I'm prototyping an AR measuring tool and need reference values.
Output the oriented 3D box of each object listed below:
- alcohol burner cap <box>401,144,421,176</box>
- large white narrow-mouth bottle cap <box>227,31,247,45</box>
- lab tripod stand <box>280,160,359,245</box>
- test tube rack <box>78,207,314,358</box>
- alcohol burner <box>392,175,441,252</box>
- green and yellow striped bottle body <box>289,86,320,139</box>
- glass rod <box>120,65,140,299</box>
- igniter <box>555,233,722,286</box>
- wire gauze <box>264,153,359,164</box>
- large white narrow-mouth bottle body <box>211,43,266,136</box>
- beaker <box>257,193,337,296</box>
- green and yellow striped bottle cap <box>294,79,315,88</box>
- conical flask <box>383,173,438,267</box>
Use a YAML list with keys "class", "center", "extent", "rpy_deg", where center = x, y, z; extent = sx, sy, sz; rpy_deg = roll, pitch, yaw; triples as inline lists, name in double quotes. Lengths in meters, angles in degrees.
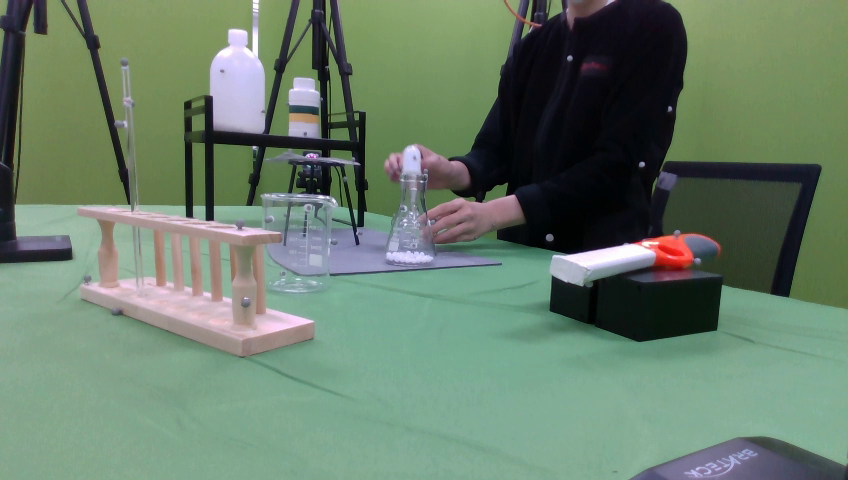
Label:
- class: "alcohol burner cap"
  center: [-0.020, -0.127, 0.949]
  extent: [0.034, 0.048, 0.034]
  rpy_deg: [1, -9, 0]
- class: "large white narrow-mouth bottle cap"
  center: [-0.361, -0.388, 1.165]
  extent: [0.038, 0.024, 0.037]
  rpy_deg: [1, 7, 0]
- class: "lab tripod stand"
  center: [-0.176, -0.062, 0.973]
  extent: [0.148, 0.131, 0.148]
  rpy_deg: [1, 7, 0]
- class: "test tube rack"
  center: [-0.196, 0.024, 0.500]
  extent: [0.241, 0.085, 0.067]
  rpy_deg: [8, 8, 37]
- class: "alcohol burner"
  center: [-0.012, -0.041, 0.944]
  extent: [0.078, 0.119, 0.078]
  rpy_deg: [0, 7, 0]
- class: "green and yellow striped bottle body"
  center: [-0.250, -0.272, 1.261]
  extent: [0.063, 0.119, 0.063]
  rpy_deg: [3, 7, 0]
- class: "glass rod"
  center: [-0.249, -0.047, 0.513]
  extent: [0.008, 0.199, 0.008]
  rpy_deg: [-1, 4, 0]
- class: "igniter"
  center: [0.214, 0.015, 0.570]
  extent: [0.278, 0.025, 0.057]
  rpy_deg: [-6, 22, -45]
- class: "wire gauze"
  center: [-0.181, -0.130, 0.969]
  extent: [0.126, 0.011, 0.121]
  rpy_deg: [-1, 6, -27]
- class: "large white narrow-mouth bottle body"
  center: [-0.361, -0.302, 1.176]
  extent: [0.102, 0.194, 0.102]
  rpy_deg: [1, 7, 0]
- class: "beaker"
  center: [-0.130, 0.003, 0.628]
  extent: [0.084, 0.100, 0.074]
  rpy_deg: [5, 8, 15]
- class: "green and yellow striped bottle cap"
  center: [-0.248, -0.323, 1.256]
  extent: [0.045, 0.020, 0.045]
  rpy_deg: [4, 9, 0]
- class: "conical flask"
  center: [-0.016, -0.028, 0.808]
  extent: [0.075, 0.122, 0.075]
  rpy_deg: [2, 8, 0]
